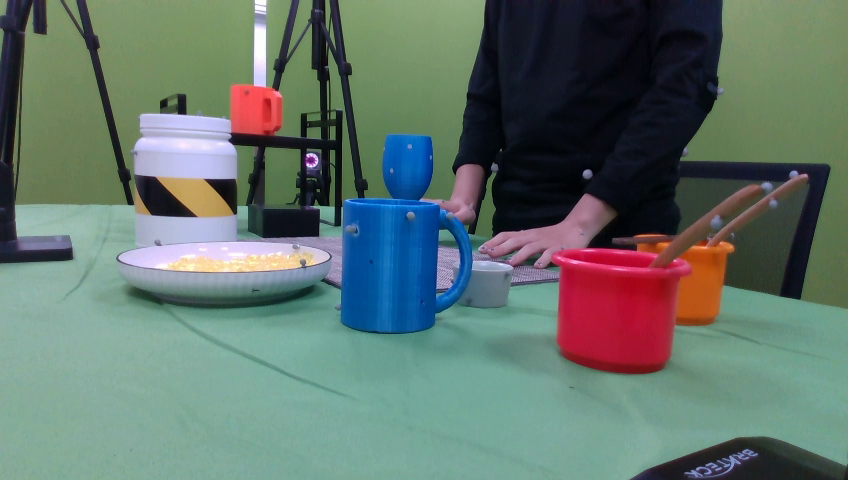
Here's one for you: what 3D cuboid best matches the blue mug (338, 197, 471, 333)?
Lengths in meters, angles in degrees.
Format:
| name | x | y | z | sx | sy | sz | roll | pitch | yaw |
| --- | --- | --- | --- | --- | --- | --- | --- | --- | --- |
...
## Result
| name | x | y | z | sx | sy | sz | roll | pitch | yaw |
| --- | --- | --- | --- | --- | --- | --- | --- | --- | --- |
| blue mug | -0.016 | 0.018 | 0.523 | 0.117 | 0.106 | 0.082 | 1 | 7 | -13 |

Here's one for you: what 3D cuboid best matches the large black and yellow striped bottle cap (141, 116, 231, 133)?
| name | x | y | z | sx | sy | sz | roll | pitch | yaw |
| --- | --- | --- | --- | --- | --- | --- | --- | --- | --- |
| large black and yellow striped bottle cap | -0.324 | -0.157 | 0.826 | 0.115 | 0.019 | 0.115 | 1 | 7 | 0 |

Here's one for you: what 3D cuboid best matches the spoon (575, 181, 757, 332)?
| name | x | y | z | sx | sy | sz | roll | pitch | yaw |
| --- | --- | --- | --- | --- | --- | --- | --- | --- | --- |
| spoon | 0.156 | 0.020 | 0.412 | 0.042 | 0.021 | 0.193 | 1 | -36 | -16 |

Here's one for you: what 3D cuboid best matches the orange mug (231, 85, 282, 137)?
| name | x | y | z | sx | sy | sz | roll | pitch | yaw |
| --- | --- | --- | --- | --- | --- | --- | --- | --- | --- |
| orange mug | -0.335 | -0.261 | 1.225 | 0.125 | 0.100 | 0.084 | 2 | 6 | 35 |

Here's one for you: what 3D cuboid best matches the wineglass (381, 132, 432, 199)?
| name | x | y | z | sx | sy | sz | roll | pitch | yaw |
| --- | --- | --- | --- | --- | --- | --- | --- | --- | --- |
| wineglass | -0.026 | -0.062 | 0.841 | 0.074 | 0.172 | 0.073 | 2 | 7 | 0 |

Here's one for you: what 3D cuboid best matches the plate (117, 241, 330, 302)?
| name | x | y | z | sx | sy | sz | roll | pitch | yaw |
| --- | --- | --- | --- | --- | --- | --- | --- | --- | --- |
| plate | -0.203 | 0.031 | 0.630 | 0.209 | 0.038 | 0.209 | 3 | 7 | 0 |

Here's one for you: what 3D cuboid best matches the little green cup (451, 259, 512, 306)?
| name | x | y | z | sx | sy | sz | roll | pitch | yaw |
| --- | --- | --- | --- | --- | --- | --- | --- | --- | --- |
| little green cup | 0.057 | 0.043 | 0.611 | 0.061 | 0.038 | 0.061 | 3 | 7 | 0 |

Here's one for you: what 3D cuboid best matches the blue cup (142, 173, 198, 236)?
| name | x | y | z | sx | sy | sz | roll | pitch | yaw |
| --- | --- | --- | --- | --- | --- | --- | --- | --- | --- |
| blue cup | -0.425 | -0.060 | 1.014 | 0.093 | 0.100 | 0.092 | 4 | 9 | 0 |

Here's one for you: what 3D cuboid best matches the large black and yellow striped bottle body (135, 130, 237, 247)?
| name | x | y | z | sx | sy | sz | roll | pitch | yaw |
| --- | --- | --- | --- | --- | --- | --- | --- | --- | --- |
| large black and yellow striped bottle body | -0.327 | -0.074 | 0.838 | 0.131 | 0.184 | 0.130 | 2 | 7 | 0 |

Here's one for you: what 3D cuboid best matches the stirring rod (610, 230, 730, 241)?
| name | x | y | z | sx | sy | sz | roll | pitch | yaw |
| --- | --- | --- | --- | --- | --- | --- | --- | --- | --- |
| stirring rod | 0.241 | -0.005 | 0.582 | 0.177 | 0.006 | 0.014 | -3 | 9 | -34 |

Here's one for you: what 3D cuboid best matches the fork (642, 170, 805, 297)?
| name | x | y | z | sx | sy | sz | roll | pitch | yaw |
| --- | --- | --- | --- | --- | --- | --- | --- | --- | --- |
| fork | 0.261 | 0.004 | 0.545 | 0.028 | 0.018 | 0.207 | 5 | -37 | -15 |
